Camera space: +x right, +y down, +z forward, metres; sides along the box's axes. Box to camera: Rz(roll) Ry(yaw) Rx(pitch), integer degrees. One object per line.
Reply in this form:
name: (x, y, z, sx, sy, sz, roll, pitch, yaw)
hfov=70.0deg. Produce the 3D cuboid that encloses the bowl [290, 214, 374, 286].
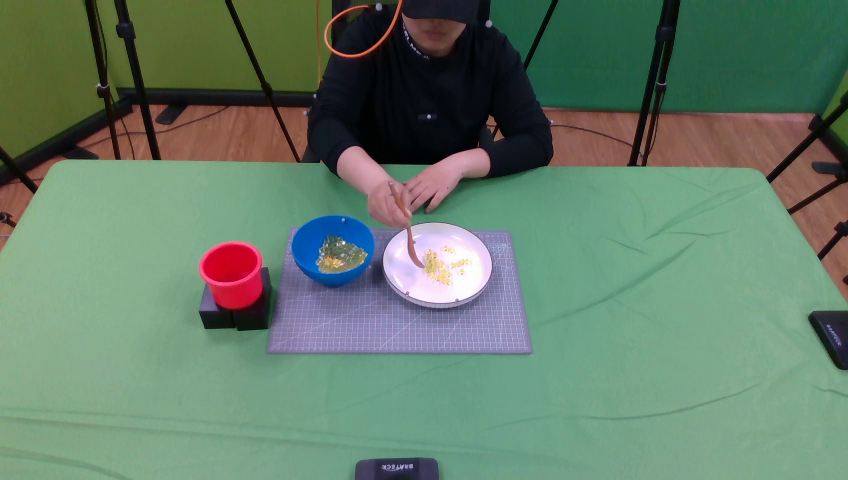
bowl: (-0.166, 0.031, 1.113, 0.151, 0.077, 0.150, 2, 46, -2)

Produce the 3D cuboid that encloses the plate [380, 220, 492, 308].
plate: (0.022, 0.048, 1.137, 0.208, 0.039, 0.206, 2, 46, -2)

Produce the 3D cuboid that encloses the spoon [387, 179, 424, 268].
spoon: (-0.031, -0.026, 1.065, 0.021, 0.195, 0.041, -21, 34, -8)
